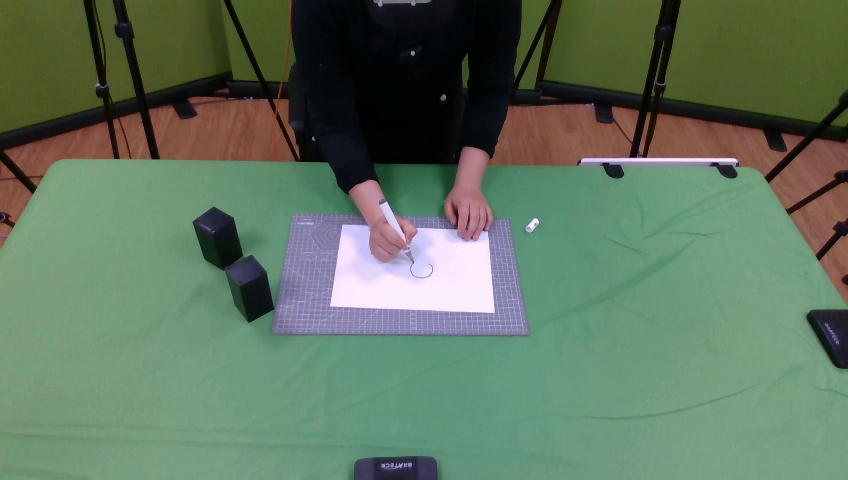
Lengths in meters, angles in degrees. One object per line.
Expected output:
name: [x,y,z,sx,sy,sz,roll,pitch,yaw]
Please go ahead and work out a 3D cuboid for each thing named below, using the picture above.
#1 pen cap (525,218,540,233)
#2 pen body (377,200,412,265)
pen cap: [0.224,-0.031,1.248,0.017,0.017,0.038,30,51,23]
pen body: [-0.052,-0.011,1.132,0.017,0.145,0.017,-20,26,10]
